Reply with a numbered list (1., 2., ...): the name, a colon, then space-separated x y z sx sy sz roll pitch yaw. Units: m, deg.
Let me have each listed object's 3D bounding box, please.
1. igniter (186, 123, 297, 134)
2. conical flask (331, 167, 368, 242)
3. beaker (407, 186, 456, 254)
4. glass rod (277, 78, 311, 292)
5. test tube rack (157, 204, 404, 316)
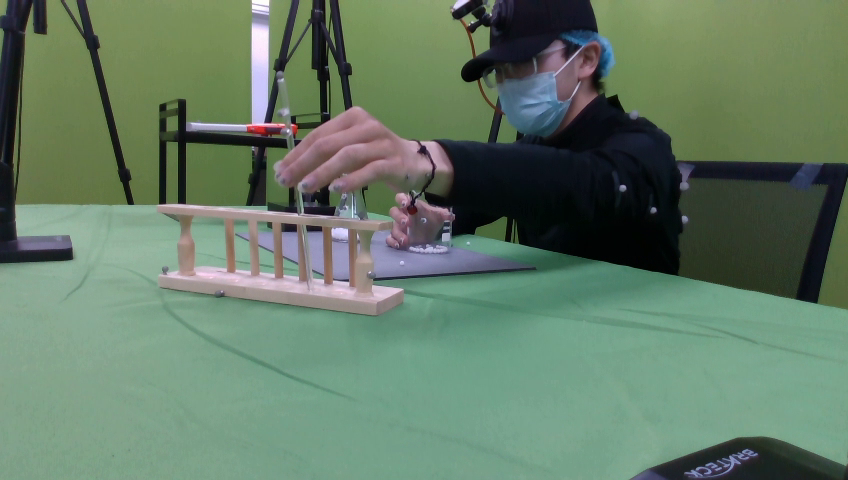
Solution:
1. igniter: -0.392 -0.247 1.341 0.057 0.025 0.278 9 14 38
2. conical flask: -0.123 -0.061 1.019 0.075 0.122 0.075 2 7 0
3. beaker: 0.008 -0.032 0.926 0.073 0.100 0.084 5 9 27
4. glass rod: -0.120 -0.050 0.560 0.008 0.199 0.008 -7 4 1
5. test tube rack: -0.143 0.013 0.598 0.242 0.085 0.067 5 8 19
